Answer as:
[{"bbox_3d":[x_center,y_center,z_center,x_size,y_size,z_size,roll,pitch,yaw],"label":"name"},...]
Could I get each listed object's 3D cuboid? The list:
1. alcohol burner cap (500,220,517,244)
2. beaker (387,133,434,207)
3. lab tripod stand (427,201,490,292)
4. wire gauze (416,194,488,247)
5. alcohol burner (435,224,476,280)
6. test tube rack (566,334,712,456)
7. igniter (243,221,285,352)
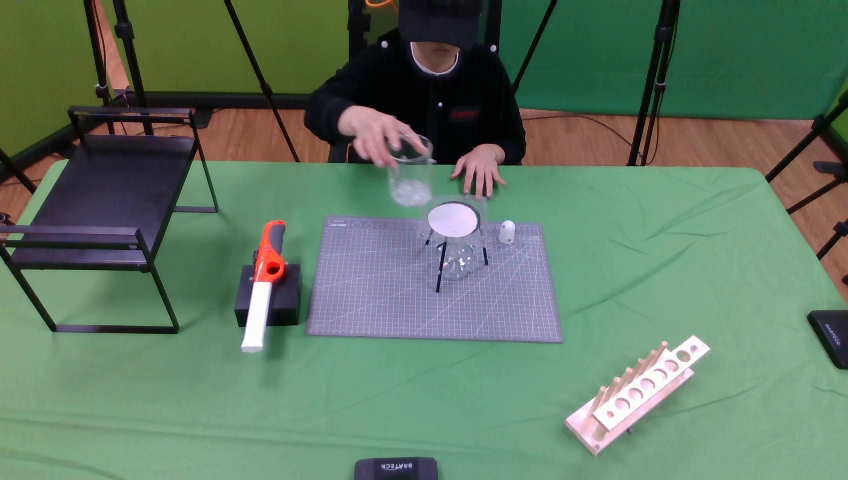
[{"bbox_3d":[0.171,-0.018,1.205,0.034,0.048,0.033,0,46,0],"label":"alcohol burner cap"},{"bbox_3d":[-0.020,-0.113,0.983,0.074,0.101,0.083,-4,43,-2],"label":"beaker"},{"bbox_3d":[0.053,0.003,1.114,0.148,0.132,0.147,0,46,0],"label":"lab tripod stand"},{"bbox_3d":[0.050,-0.039,1.060,0.125,0.011,0.121,4,46,3],"label":"wire gauze"},{"bbox_3d":[0.060,0.017,1.114,0.078,0.119,0.077,3,44,-2],"label":"alcohol burner"},{"bbox_3d":[0.339,0.228,0.950,0.242,0.085,0.066,-26,52,-26],"label":"test tube rack"},{"bbox_3d":[-0.274,0.069,1.041,0.057,0.025,0.274,2,48,-6],"label":"igniter"}]
